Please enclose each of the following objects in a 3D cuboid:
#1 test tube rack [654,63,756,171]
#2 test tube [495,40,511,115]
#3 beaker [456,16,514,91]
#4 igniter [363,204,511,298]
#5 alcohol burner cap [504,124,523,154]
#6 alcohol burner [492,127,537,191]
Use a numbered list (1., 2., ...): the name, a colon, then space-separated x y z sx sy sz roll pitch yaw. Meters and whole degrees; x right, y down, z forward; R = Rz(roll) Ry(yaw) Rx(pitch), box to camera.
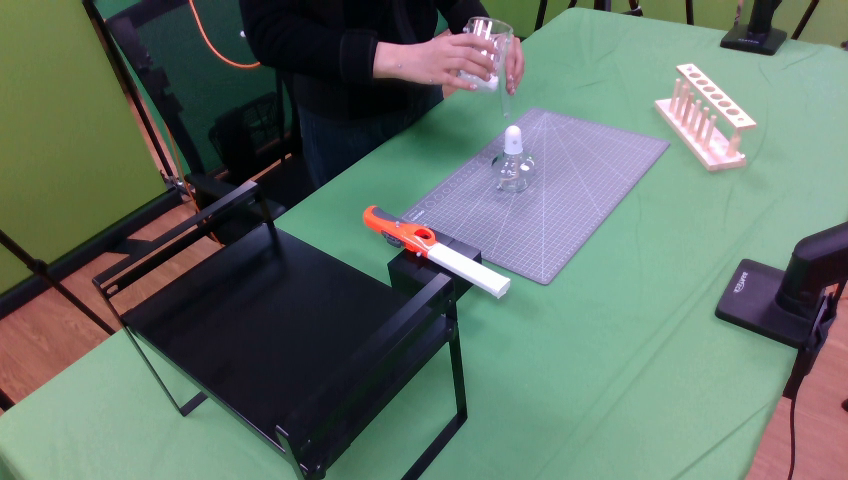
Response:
1. test tube rack: 0.511 -0.233 1.120 0.067 0.085 0.241 -8 41 -1
2. test tube: 0.141 -0.285 1.075 0.017 0.151 0.017 -7 47 8
3. beaker: 0.097 -0.297 0.976 0.073 0.100 0.084 16 6 15
4. igniter: 0.007 0.009 0.887 0.274 0.025 0.057 29 50 32
5. alcohol burner cap: 0.151 -0.173 1.022 0.034 0.048 0.033 -4 36 3
6. alcohol burner: 0.156 -0.146 1.046 0.078 0.119 0.077 -4 43 4
